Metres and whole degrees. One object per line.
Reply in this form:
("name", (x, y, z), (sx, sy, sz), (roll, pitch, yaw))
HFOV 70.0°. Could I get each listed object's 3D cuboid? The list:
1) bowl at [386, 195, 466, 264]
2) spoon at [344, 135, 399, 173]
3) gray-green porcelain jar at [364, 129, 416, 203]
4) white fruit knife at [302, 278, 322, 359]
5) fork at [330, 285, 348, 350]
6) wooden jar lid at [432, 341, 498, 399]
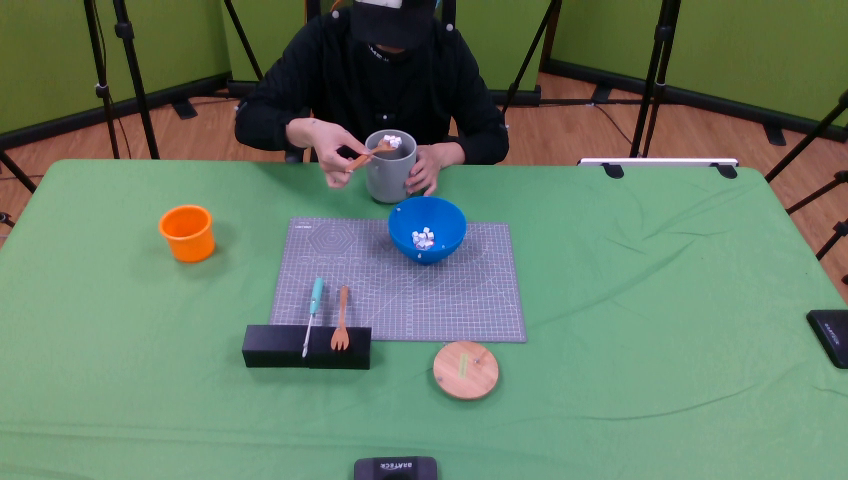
("bowl", (0.003, -0.007, 1.162), (0.151, 0.077, 0.150), (2, 46, -2))
("spoon", (-0.101, -0.165, 1.148), (0.041, 0.022, 0.193), (25, 31, 15))
("gray-green porcelain jar", (-0.072, -0.149, 1.264), (0.106, 0.127, 0.105), (2, 46, -2))
("white fruit knife", (-0.189, 0.126, 1.020), (0.016, 0.027, 0.206), (0, 33, -3))
("fork", (-0.140, 0.127, 1.021), (0.028, 0.019, 0.206), (-5, 28, -2))
("wooden jar lid", (0.067, 0.216, 0.997), (0.108, 0.021, 0.107), (1, 46, -1))
